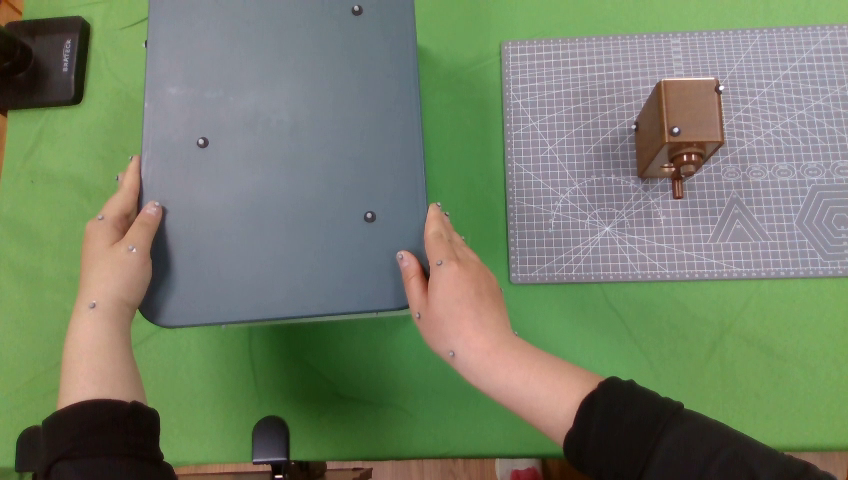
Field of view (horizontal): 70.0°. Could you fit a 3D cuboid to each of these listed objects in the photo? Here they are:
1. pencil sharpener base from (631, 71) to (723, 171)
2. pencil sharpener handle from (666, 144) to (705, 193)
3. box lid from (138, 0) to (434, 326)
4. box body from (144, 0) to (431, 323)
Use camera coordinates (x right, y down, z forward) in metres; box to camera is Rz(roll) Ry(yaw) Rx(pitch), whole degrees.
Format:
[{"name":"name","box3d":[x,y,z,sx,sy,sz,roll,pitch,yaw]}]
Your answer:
[{"name":"pencil sharpener base","box3d":[0.263,-0.119,0.639,0.061,0.107,0.076,-1,78,5]},{"name":"pencil sharpener handle","box3d":[0.264,-0.072,0.616,0.036,0.068,0.030,-2,77,11]},{"name":"box lid","box3d":[-0.133,-0.113,0.563,0.263,0.015,0.369,-5,78,3]},{"name":"box body","box3d":[-0.128,-0.097,0.643,0.254,0.161,0.362,-5,77,4]}]
